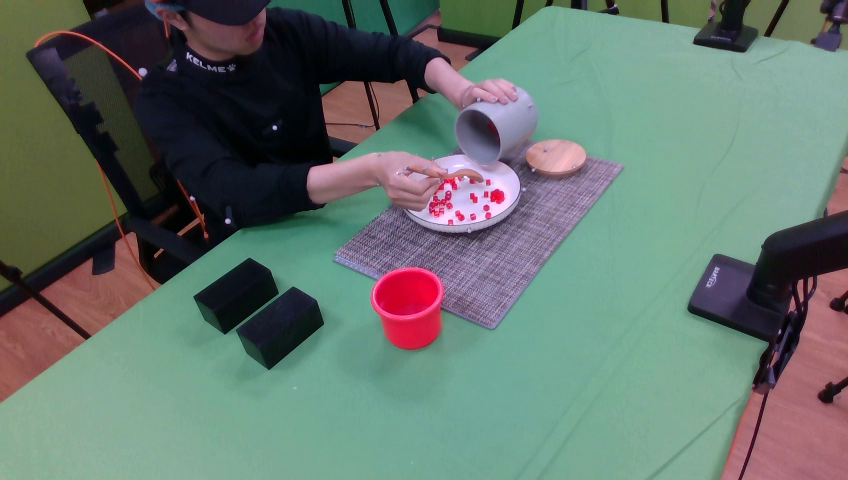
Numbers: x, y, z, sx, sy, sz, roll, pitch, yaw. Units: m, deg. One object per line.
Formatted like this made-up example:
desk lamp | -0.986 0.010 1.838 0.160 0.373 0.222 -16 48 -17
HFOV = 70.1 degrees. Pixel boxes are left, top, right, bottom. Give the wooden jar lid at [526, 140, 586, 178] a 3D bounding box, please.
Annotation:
wooden jar lid | 0.240 -0.147 1.103 0.108 0.021 0.108 -4 42 4

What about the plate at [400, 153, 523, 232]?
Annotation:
plate | 0.065 -0.078 1.034 0.207 0.039 0.206 -4 41 4

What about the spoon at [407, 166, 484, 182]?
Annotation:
spoon | 0.037 -0.105 0.963 0.041 0.021 0.195 21 16 35

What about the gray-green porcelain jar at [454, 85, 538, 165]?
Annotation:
gray-green porcelain jar | 0.132 -0.207 1.066 0.105 0.106 0.127 26 47 33
